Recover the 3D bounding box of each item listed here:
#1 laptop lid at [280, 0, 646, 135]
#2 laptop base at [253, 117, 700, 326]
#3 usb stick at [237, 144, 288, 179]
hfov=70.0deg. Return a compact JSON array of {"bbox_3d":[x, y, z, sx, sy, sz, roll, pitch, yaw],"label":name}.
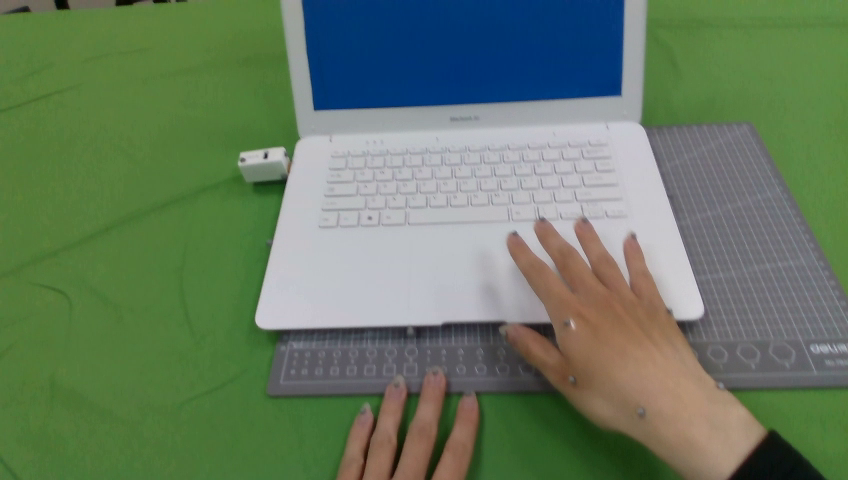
[{"bbox_3d":[0.036,-0.221,0.588,0.356,0.243,0.013,-3,19,4],"label":"laptop lid"},{"bbox_3d":[0.040,-0.024,0.549,0.354,0.023,0.233,-2,52,3],"label":"laptop base"},{"bbox_3d":[-0.152,-0.079,0.600,0.059,0.027,0.021,-4,48,3],"label":"usb stick"}]
